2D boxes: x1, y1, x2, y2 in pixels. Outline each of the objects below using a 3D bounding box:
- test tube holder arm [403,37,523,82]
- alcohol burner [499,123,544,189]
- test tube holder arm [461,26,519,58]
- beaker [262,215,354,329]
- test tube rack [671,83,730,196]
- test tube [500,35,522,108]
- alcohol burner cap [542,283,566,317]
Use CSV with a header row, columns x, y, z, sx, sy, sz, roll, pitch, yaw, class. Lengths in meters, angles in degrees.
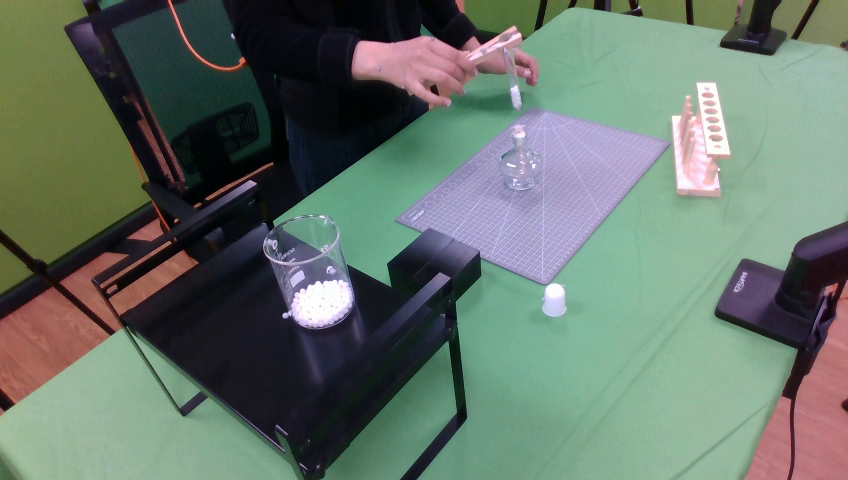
x,y,z,sx,sy,sz,roll,pitch,yaw,class
0.055,-0.261,0.876,0.178,0.015,0.013,-16,78,10,test tube holder arm
0.168,-0.149,1.048,0.078,0.119,0.077,-6,41,6,alcohol burner
0.095,-0.281,0.870,0.088,0.015,0.010,-27,77,8,test tube holder arm
-0.112,0.034,0.616,0.073,0.101,0.084,13,44,23,beaker
0.482,-0.184,1.067,0.066,0.085,0.242,5,42,15,test tube rack
0.135,-0.253,0.926,0.017,0.151,0.017,-7,61,13,test tube
0.181,0.080,0.840,0.034,0.048,0.033,-3,40,3,alcohol burner cap
